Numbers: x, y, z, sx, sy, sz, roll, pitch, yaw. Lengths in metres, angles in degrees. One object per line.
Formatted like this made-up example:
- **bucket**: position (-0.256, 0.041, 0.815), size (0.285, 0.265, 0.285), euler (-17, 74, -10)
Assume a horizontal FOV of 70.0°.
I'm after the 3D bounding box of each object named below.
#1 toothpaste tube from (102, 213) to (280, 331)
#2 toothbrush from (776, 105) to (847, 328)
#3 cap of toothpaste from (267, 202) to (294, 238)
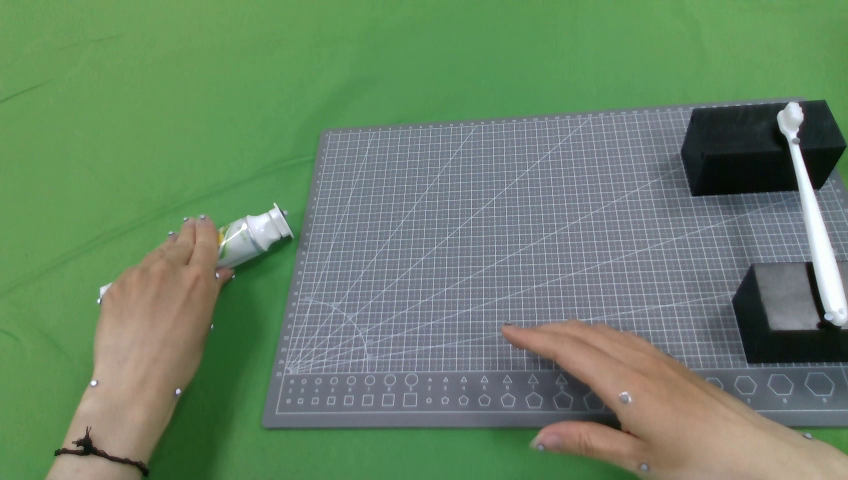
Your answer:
- **toothpaste tube**: position (-0.197, 0.020, 0.517), size (0.165, 0.035, 0.054), euler (-27, 42, -6)
- **toothbrush**: position (0.264, -0.024, 0.413), size (0.014, 0.017, 0.180), euler (10, 58, -2)
- **cap of toothpaste**: position (-0.125, -0.016, 0.523), size (0.011, 0.038, 0.037), euler (-30, 55, -12)
